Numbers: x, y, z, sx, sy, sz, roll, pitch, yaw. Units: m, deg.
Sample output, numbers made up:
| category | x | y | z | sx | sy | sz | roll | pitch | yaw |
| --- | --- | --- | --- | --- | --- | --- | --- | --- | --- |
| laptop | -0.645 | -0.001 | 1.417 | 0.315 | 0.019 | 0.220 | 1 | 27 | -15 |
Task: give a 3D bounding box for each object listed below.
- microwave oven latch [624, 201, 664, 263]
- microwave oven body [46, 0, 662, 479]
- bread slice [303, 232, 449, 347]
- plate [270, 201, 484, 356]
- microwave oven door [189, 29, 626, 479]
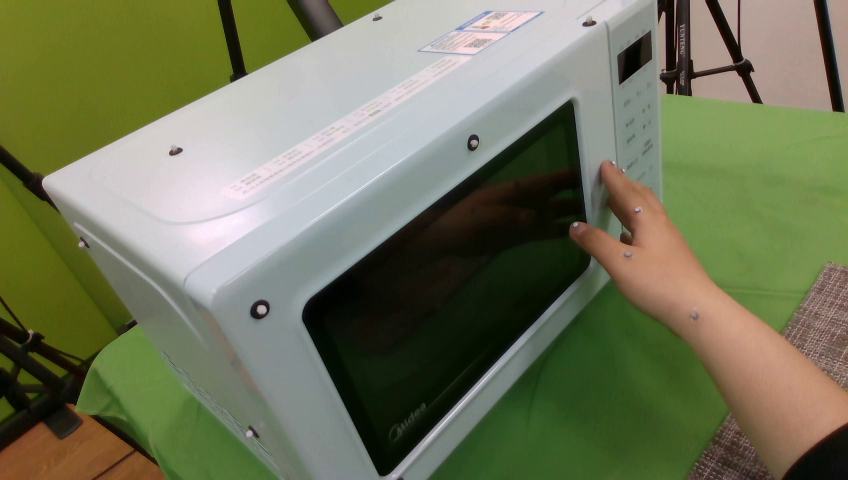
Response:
| category | x | y | z | sx | sy | sz | roll | pitch | yaw |
| --- | --- | --- | --- | --- | --- | --- | --- | --- | --- |
| microwave oven latch | 0.213 | -0.010 | 0.613 | 0.079 | 0.030 | 0.030 | -38 | 39 | -28 |
| microwave oven body | -0.034 | -0.027 | 0.572 | 0.323 | 0.263 | 0.441 | 20 | 49 | 42 |
| bread slice | -0.044 | 0.037 | 0.583 | 0.131 | 0.019 | 0.104 | -34 | 37 | -20 |
| plate | -0.042 | 0.035 | 0.577 | 0.209 | 0.038 | 0.207 | -13 | 34 | 9 |
| microwave oven door | 0.036 | 0.027 | 0.449 | 0.039 | 0.246 | 0.355 | 20 | 48 | 43 |
